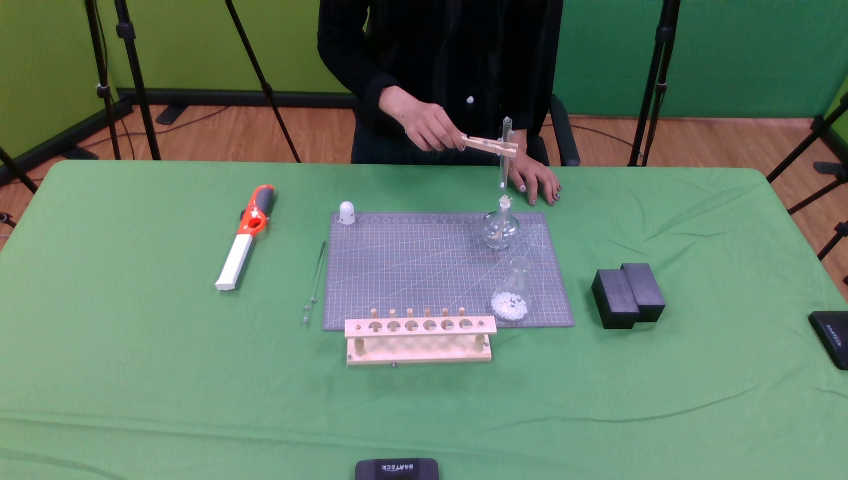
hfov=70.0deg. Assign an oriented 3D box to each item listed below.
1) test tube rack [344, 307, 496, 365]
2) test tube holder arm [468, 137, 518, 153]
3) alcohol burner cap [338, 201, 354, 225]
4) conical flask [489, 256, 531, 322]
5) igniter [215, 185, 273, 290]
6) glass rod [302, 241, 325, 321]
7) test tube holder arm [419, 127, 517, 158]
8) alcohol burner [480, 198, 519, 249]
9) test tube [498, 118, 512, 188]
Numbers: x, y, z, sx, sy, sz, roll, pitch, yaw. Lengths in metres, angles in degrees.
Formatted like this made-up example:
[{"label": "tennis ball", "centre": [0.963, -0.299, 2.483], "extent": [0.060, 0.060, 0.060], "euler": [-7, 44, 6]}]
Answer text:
[{"label": "test tube rack", "centre": [-0.009, 0.154, 1.007], "extent": [0.242, 0.085, 0.066], "euler": [-1, 46, -5]}, {"label": "test tube holder arm", "centre": [0.120, -0.166, 1.061], "extent": [0.088, 0.015, 0.010], "euler": [10, 44, 9]}, {"label": "alcohol burner cap", "centre": [-0.159, -0.056, 1.224], "extent": [0.034, 0.048, 0.033], "euler": [2, 47, -2]}, {"label": "conical flask", "centre": [0.158, 0.081, 1.061], "extent": [0.075, 0.122, 0.075], "euler": [2, 46, -2]}, {"label": "igniter", "centre": [-0.347, -0.014, 1.182], "extent": [0.057, 0.025, 0.275], "euler": [-2, 45, 8]}, {"label": "glass rod", "centre": [-0.203, 0.072, 1.124], "extent": [0.008, 0.008, 0.198], "euler": [4, 43, 1]}, {"label": "test tube holder arm", "centre": [0.075, -0.173, 1.066], "extent": [0.178, 0.015, 0.013], "euler": [15, 44, 14]}, {"label": "alcohol burner", "centre": [0.150, -0.038, 1.182], "extent": [0.078, 0.119, 0.077], "euler": [3, 47, -3]}, {"label": "test tube", "centre": [0.141, -0.149, 1.063], "extent": [0.017, 0.151, 0.017], "euler": [-1, 47, 1]}]
